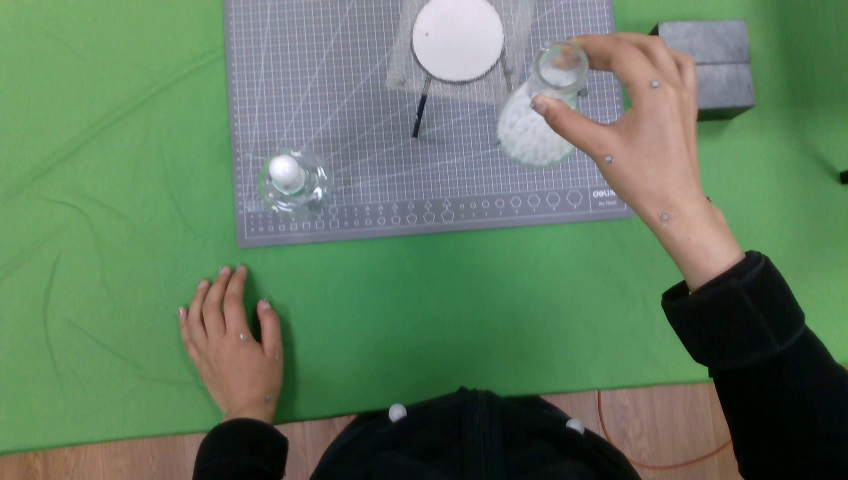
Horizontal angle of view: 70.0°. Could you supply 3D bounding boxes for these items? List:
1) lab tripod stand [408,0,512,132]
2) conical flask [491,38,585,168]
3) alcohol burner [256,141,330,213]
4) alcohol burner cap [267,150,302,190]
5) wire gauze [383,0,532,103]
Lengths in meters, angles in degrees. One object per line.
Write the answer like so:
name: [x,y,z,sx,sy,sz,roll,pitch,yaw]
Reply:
lab tripod stand: [0.026,-0.190,0.630,0.148,0.131,0.148,0,85,0]
conical flask: [0.093,-0.108,0.467,0.075,0.122,0.075,0,79,2]
alcohol burner: [-0.138,-0.067,0.624,0.078,0.119,0.078,0,86,-1]
alcohol burner cap: [-0.137,-0.070,0.589,0.034,0.048,0.033,1,80,-5]
wire gauze: [0.034,-0.195,0.564,0.121,0.011,0.125,13,85,-1]
